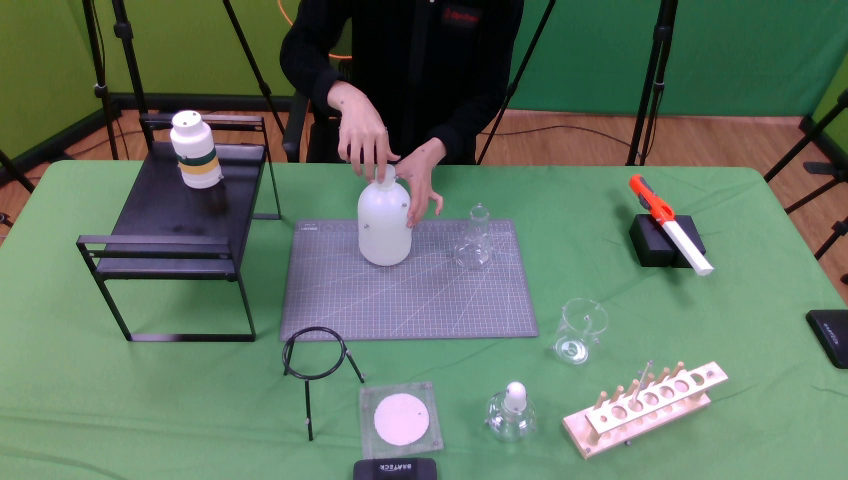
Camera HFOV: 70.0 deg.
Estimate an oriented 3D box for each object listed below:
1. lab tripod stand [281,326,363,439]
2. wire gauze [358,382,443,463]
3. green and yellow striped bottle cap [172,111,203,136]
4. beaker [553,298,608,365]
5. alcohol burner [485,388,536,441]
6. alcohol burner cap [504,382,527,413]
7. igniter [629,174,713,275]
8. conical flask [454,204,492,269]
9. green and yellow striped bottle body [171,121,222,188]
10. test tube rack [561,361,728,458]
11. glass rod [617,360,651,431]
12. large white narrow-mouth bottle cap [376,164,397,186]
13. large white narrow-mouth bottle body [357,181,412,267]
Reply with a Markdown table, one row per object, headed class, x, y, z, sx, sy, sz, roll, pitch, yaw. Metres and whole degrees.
| class | x | y | z | sx | sy | sz | roll | pitch | yaw |
| --- | --- | --- | --- | --- | --- | --- | --- | --- | --- |
| lab tripod stand | -0.166 | 0.203 | 0.913 | 0.148 | 0.132 | 0.147 | 1 | 47 | -1 |
| wire gauze | -0.039 | 0.277 | 0.937 | 0.121 | 0.011 | 0.124 | -4 | 47 | -7 |
| green and yellow striped bottle cap | -0.374 | -0.185 | 0.957 | 0.045 | 0.020 | 0.045 | 4 | 45 | -3 |
| beaker | 0.260 | 0.154 | 1.015 | 0.073 | 0.101 | 0.084 | 37 | 54 | 27 |
| alcohol burner | 0.131 | 0.249 | 0.904 | 0.078 | 0.120 | 0.077 | 1 | 48 | -1 |
| alcohol burner cap | 0.133 | 0.225 | 0.877 | 0.034 | 0.048 | 0.033 | -4 | 47 | 4 |
| igniter | 0.481 | -0.040 | 1.202 | 0.057 | 0.025 | 0.274 | -2 | 46 | -21 |
| conical flask | 0.097 | -0.009 | 1.140 | 0.075 | 0.122 | 0.075 | 2 | 46 | -2 |
| green and yellow striped bottle body | -0.375 | -0.149 | 0.995 | 0.063 | 0.120 | 0.063 | 2 | 46 | -2 |
| test tube rack | 0.341 | 0.248 | 0.940 | 0.243 | 0.085 | 0.066 | -15 | 49 | -18 |
| glass rod | 0.297 | 0.227 | 0.865 | 0.008 | 0.201 | 0.008 | -1 | 48 | 2 |
| large white narrow-mouth bottle cap | -0.064 | -0.112 | 1.045 | 0.038 | 0.024 | 0.037 | 3 | 47 | -3 |
| large white narrow-mouth bottle body | -0.073 | -0.047 | 1.115 | 0.102 | 0.195 | 0.101 | 3 | 47 | -3 |
